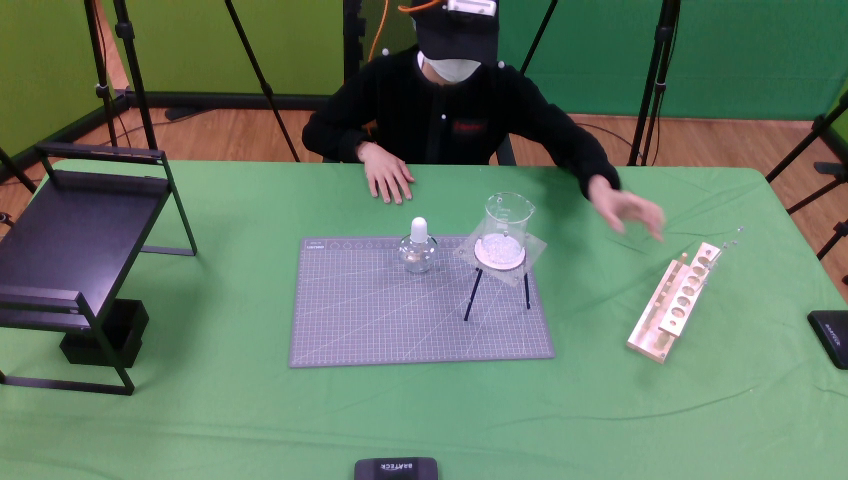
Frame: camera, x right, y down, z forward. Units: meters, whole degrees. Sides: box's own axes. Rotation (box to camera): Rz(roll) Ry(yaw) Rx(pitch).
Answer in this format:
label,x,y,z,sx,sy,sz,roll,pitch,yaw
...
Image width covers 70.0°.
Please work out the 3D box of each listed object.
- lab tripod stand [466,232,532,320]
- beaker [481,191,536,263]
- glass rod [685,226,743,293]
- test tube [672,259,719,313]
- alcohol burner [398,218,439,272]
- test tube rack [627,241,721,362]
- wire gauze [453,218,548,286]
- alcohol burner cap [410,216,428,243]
label,x,y,z,sx,sy,sz,roll,pitch,yaw
lab tripod stand,0.125,0.059,1.065,0.148,0.132,0.147,1,45,0
beaker,0.134,-0.019,0.982,0.084,0.101,0.073,-5,46,-8
glass rod,0.501,0.040,1.053,0.008,0.200,0.008,4,52,-5
test tube,0.460,0.082,1.032,0.017,0.151,0.017,4,52,-5
alcohol burner,-0.010,0.004,1.124,0.078,0.120,0.077,1,47,0
test tube rack,0.452,0.098,1.087,0.066,0.085,0.242,28,51,22
wire gauze,0.129,0.014,1.018,0.124,0.011,0.121,26,47,25
alcohol burner cap,-0.009,-0.022,1.099,0.034,0.048,0.033,2,42,-1
